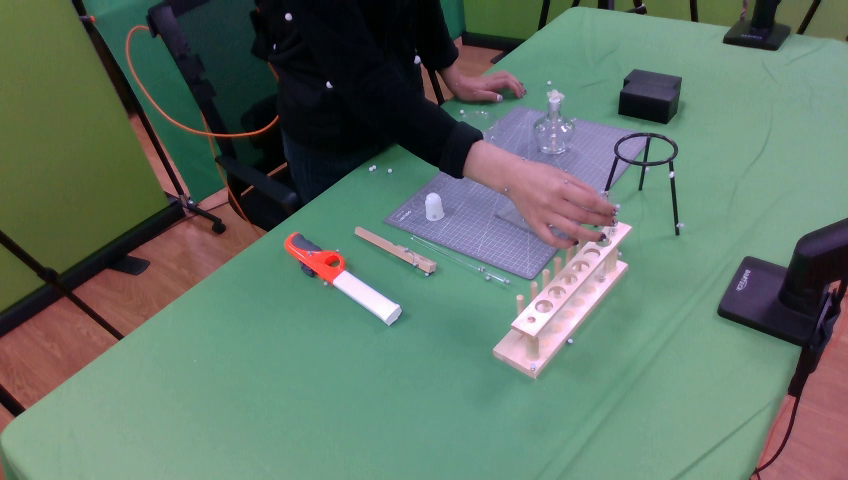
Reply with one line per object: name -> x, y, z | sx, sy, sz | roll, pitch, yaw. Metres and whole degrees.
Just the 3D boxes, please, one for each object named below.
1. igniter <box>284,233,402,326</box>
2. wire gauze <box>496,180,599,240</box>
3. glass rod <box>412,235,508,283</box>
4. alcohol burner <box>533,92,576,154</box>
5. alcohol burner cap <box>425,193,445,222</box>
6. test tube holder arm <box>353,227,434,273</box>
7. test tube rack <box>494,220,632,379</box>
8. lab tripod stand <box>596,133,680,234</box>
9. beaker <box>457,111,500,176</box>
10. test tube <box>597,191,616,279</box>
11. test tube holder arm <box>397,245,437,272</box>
igniter -> -0.136, 0.054, 0.942 | 0.274, 0.025, 0.057 | 30, 63, 37
wire gauze -> 0.206, -0.050, 1.012 | 0.125, 0.011, 0.120 | -34, 45, -26
glass rod -> 0.051, 0.028, 0.951 | 0.198, 0.008, 0.008 | 25, 51, 37
alcohol burner -> 0.243, -0.221, 1.124 | 0.078, 0.119, 0.077 | -4, 39, 4
alcohol burner cap -> 0.017, -0.058, 1.029 | 0.034, 0.048, 0.033 | -6, 40, 5
test tube holder arm -> -0.052, 0.014, 0.979 | 0.177, 0.015, 0.013 | 25, 17, 35
test tube rack -> 0.191, 0.068, 0.818 | 0.066, 0.085, 0.243 | 26, 51, 34
lab tripod stand -> 0.338, -0.090, 0.940 | 0.148, 0.132, 0.147 | -7, 39, 6
beaker -> 0.104, -0.176, 1.108 | 0.073, 0.101, 0.084 | 16, 45, 27
test tube -> 0.245, -0.002, 0.812 | 0.017, 0.151, 0.017 | -5, 41, 5
test tube holder arm -> -0.016, 0.029, 0.957 | 0.087, 0.015, 0.010 | 25, 17, 35
